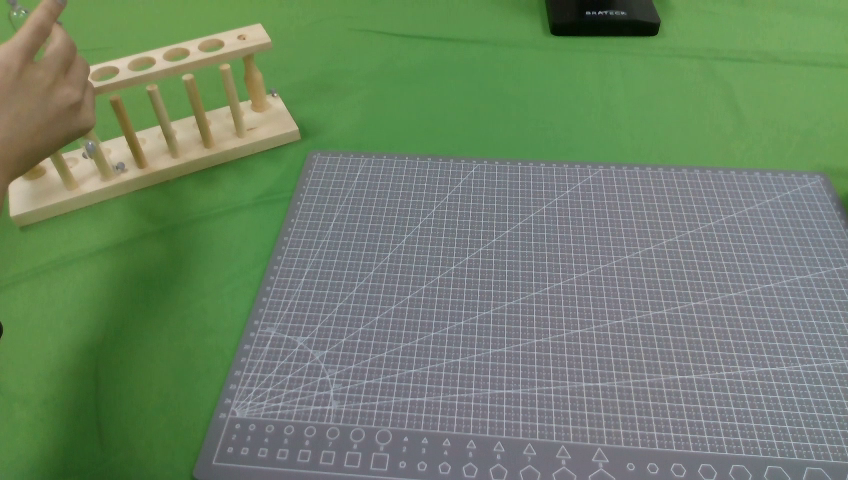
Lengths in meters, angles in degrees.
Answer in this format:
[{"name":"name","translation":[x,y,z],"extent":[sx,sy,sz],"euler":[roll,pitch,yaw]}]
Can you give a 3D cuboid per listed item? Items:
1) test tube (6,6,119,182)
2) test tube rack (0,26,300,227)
[{"name":"test tube","translation":[-0.272,-0.104,0.462],"extent":[0.017,0.151,0.017],"euler":[-2,47,2]},{"name":"test tube rack","translation":[-0.239,-0.101,0.518],"extent":[0.243,0.086,0.066],"euler":[-21,50,-17]}]
